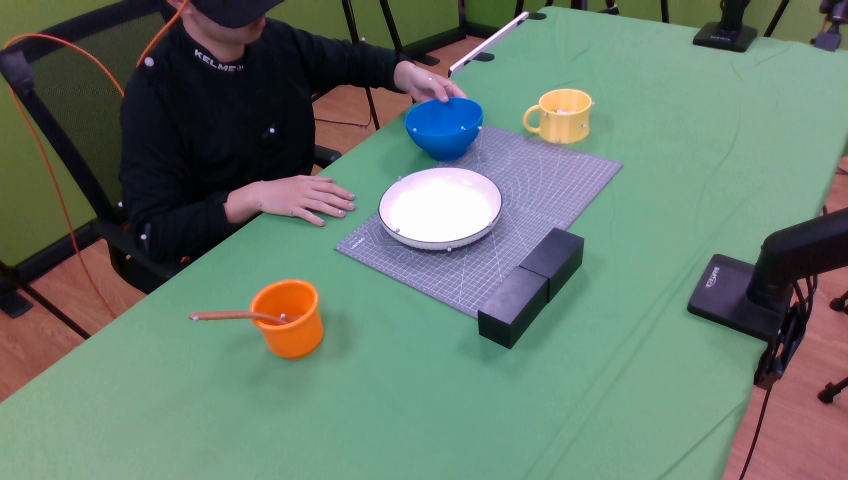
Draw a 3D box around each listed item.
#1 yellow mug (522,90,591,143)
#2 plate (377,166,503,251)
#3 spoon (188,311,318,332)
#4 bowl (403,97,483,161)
[{"bbox_3d":[0.257,-0.239,1.177,0.131,0.064,0.099,-6,40,3],"label":"yellow mug"},{"bbox_3d":[0.027,-0.050,1.007,0.209,0.038,0.208,-4,41,4],"label":"plate"},{"bbox_3d":[-0.216,0.102,0.783,0.041,0.195,0.021,27,96,39],"label":"spoon"},{"bbox_3d":[0.041,-0.204,1.154,0.151,0.077,0.150,-5,39,5],"label":"bowl"}]
